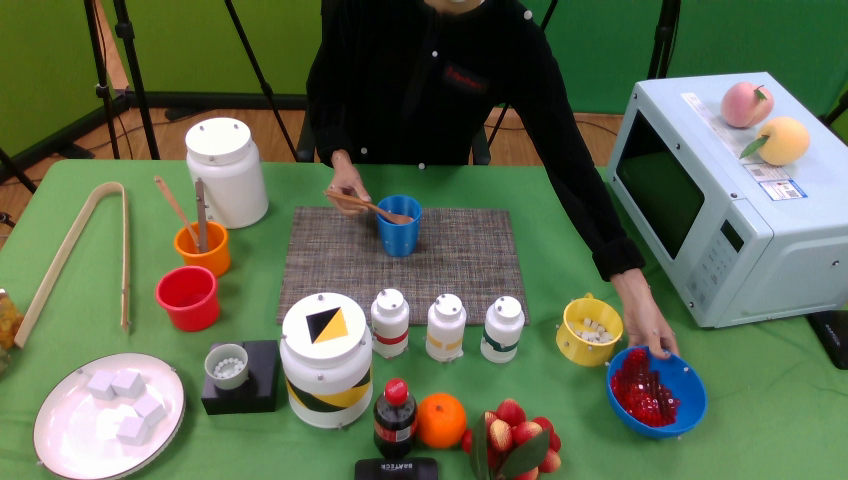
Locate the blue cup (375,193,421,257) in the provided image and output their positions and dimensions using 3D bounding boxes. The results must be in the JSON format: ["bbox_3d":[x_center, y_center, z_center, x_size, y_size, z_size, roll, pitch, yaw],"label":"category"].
[{"bbox_3d":[-0.049,-0.022,1.155,0.093,0.101,0.092,1,47,-1],"label":"blue cup"}]

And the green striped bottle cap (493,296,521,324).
[{"bbox_3d":[0.133,0.111,0.962,0.044,0.020,0.044,2,47,-2],"label":"green striped bottle cap"}]

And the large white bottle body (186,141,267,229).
[{"bbox_3d":[-0.382,-0.127,1.175,0.131,0.185,0.130,2,47,-2],"label":"large white bottle body"}]

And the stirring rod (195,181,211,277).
[{"bbox_3d":[-0.403,-0.020,1.104,0.014,0.006,0.176,-6,90,-8],"label":"stirring rod"}]

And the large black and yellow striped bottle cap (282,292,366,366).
[{"bbox_3d":[-0.138,0.121,0.841,0.115,0.019,0.114,3,47,-3],"label":"large black and yellow striped bottle cap"}]

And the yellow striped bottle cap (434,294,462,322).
[{"bbox_3d":[0.038,0.107,0.958,0.044,0.019,0.044,2,45,-2],"label":"yellow striped bottle cap"}]

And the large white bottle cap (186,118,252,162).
[{"bbox_3d":[-0.377,-0.185,1.114,0.115,0.018,0.114,2,46,-2],"label":"large white bottle cap"}]

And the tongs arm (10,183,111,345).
[{"bbox_3d":[-0.658,0.027,1.109,0.028,0.028,0.385,-2,45,2],"label":"tongs arm"}]

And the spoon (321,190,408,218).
[{"bbox_3d":[-0.100,-0.059,1.102,0.195,0.021,0.041,23,25,-33],"label":"spoon"}]

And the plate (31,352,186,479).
[{"bbox_3d":[-0.459,0.262,0.898,0.209,0.038,0.208,2,46,-2],"label":"plate"}]

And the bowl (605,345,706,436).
[{"bbox_3d":[0.351,0.248,0.949,0.151,0.077,0.150,2,46,-2],"label":"bowl"}]

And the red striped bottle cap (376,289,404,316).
[{"bbox_3d":[-0.055,0.098,0.958,0.044,0.018,0.044,0,48,0],"label":"red striped bottle cap"}]

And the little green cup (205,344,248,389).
[{"bbox_3d":[-0.293,0.191,0.909,0.061,0.039,0.061,1,47,-1],"label":"little green cup"}]

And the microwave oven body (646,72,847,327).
[{"bbox_3d":[0.607,-0.089,1.164,0.326,0.261,0.438,-7,46,-10],"label":"microwave oven body"}]

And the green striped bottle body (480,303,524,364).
[{"bbox_3d":[0.129,0.147,1.000,0.063,0.120,0.063,2,46,-2],"label":"green striped bottle body"}]

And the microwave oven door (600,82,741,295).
[{"bbox_3d":[0.453,-0.106,1.161,0.039,0.245,0.353,-5,47,-12],"label":"microwave oven door"}]

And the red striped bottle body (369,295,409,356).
[{"bbox_3d":[-0.059,0.134,0.997,0.063,0.120,0.062,5,48,-5],"label":"red striped bottle body"}]

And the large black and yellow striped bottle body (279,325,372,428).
[{"bbox_3d":[-0.143,0.181,0.900,0.131,0.185,0.130,2,46,-2],"label":"large black and yellow striped bottle body"}]

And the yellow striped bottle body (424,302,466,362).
[{"bbox_3d":[0.035,0.143,0.995,0.063,0.121,0.062,3,46,-3],"label":"yellow striped bottle body"}]

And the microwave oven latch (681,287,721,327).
[{"bbox_3d":[0.494,0.119,1.087,0.030,0.029,0.078,-5,46,-9],"label":"microwave oven latch"}]

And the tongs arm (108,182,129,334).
[{"bbox_3d":[-0.571,0.019,1.123,0.051,0.026,0.382,-10,47,-12],"label":"tongs arm"}]

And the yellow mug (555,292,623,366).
[{"bbox_3d":[0.284,0.145,1.052,0.100,0.064,0.130,9,45,1],"label":"yellow mug"}]

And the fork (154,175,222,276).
[{"bbox_3d":[-0.431,-0.026,1.101,0.028,0.018,0.207,-33,100,-24],"label":"fork"}]
